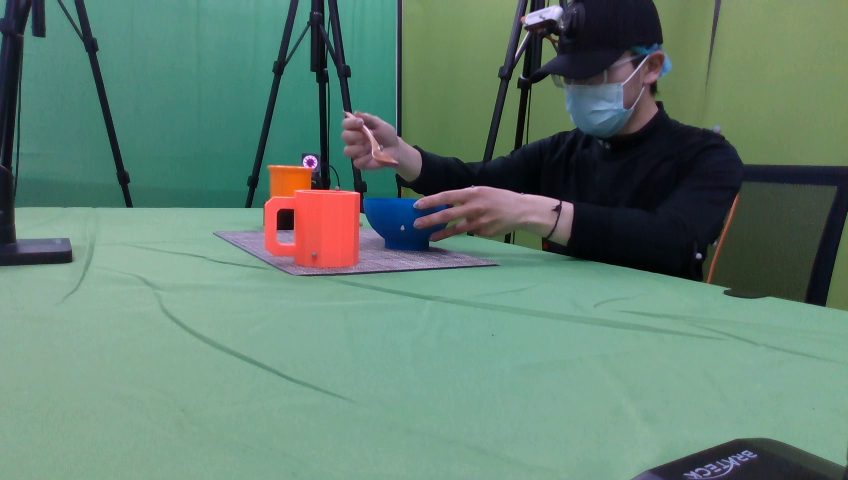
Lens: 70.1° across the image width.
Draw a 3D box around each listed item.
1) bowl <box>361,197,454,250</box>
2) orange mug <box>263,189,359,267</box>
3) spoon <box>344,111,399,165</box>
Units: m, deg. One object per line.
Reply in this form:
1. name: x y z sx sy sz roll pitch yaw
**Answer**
1. bowl: -0.028 -0.028 0.989 0.151 0.077 0.151 2 7 0
2. orange mug: -0.147 -0.019 0.794 0.127 0.100 0.083 5 6 -19
3. spoon: -0.092 -0.171 0.993 0.042 0.021 0.193 5 35 -35
